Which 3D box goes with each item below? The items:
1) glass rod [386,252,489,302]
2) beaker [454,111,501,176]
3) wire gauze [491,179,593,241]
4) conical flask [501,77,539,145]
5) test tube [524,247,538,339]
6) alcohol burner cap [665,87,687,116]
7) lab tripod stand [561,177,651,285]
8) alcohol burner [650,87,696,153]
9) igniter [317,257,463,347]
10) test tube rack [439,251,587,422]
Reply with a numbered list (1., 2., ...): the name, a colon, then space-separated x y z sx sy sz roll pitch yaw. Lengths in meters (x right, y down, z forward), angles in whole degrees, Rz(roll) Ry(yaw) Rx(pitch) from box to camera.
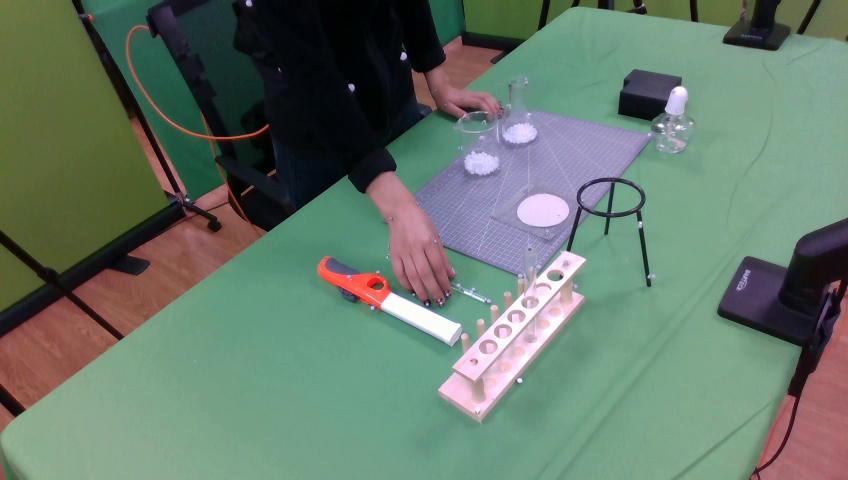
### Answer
1. glass rod: 0.016 0.054 0.927 0.198 0.008 0.008 23 50 32
2. beaker: 0.101 -0.173 1.106 0.084 0.101 0.073 -5 40 6
3. wire gauze: 0.198 -0.051 1.014 0.125 0.011 0.120 -38 48 -27
4. conical flask: 0.183 -0.250 1.163 0.075 0.122 0.075 -6 40 5
5. test tube: 0.133 0.070 0.749 0.017 0.151 0.017 -5 38 4
6. alcohol burner cap: 0.445 -0.244 1.060 0.034 0.048 0.033 -2 45 3
7. lab tripod stand: 0.263 -0.014 0.864 0.148 0.132 0.147 -7 38 6
8. alcohol burner: 0.448 -0.217 1.084 0.078 0.119 0.077 -6 38 5
9. igniter: -0.061 0.085 0.891 0.274 0.025 0.057 23 59 33
10. test tube rack: 0.118 0.111 0.780 0.066 0.085 0.243 26 51 34
